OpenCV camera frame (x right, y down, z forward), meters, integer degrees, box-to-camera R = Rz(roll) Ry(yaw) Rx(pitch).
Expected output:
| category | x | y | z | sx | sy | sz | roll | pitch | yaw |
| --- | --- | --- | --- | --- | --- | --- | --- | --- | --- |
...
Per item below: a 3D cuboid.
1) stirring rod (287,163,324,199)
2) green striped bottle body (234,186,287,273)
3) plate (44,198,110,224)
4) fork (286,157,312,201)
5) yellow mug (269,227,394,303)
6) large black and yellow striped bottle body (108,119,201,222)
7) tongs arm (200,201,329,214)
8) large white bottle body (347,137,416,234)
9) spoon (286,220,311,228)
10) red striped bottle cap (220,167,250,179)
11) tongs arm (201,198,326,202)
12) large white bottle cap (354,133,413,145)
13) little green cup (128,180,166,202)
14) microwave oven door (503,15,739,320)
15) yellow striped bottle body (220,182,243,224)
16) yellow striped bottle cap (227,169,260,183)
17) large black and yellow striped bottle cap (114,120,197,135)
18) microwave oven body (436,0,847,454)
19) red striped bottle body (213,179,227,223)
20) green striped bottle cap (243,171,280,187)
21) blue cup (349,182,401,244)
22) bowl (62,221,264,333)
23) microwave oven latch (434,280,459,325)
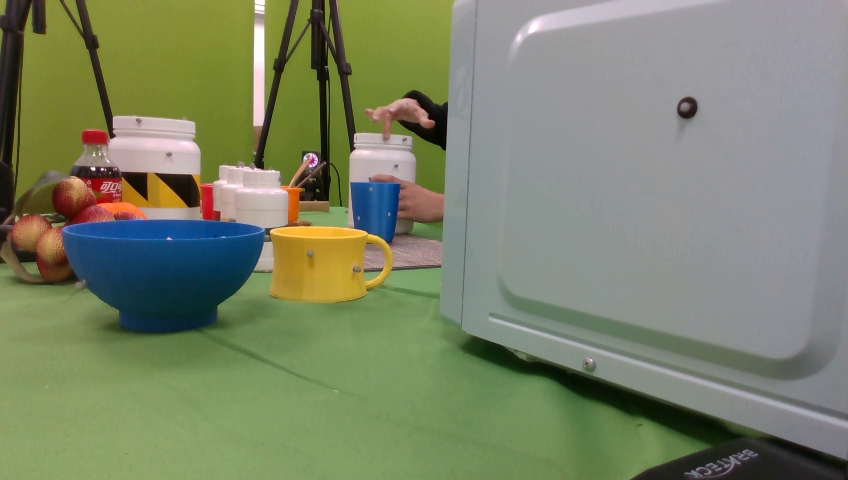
| category | x | y | z | sx | sy | sz | roll | pitch | yaw |
| --- | --- | --- | --- | --- | --- | --- | --- | --- | --- |
| stirring rod | -0.278 | -0.105 | 1.293 | 0.176 | 0.006 | 0.014 | -46 | 25 | -18 |
| green striped bottle body | -0.200 | -0.023 | 0.743 | 0.063 | 0.119 | 0.063 | 2 | 7 | 0 |
| plate | -0.617 | -0.056 | 1.179 | 0.209 | 0.038 | 0.209 | 3 | 7 | 0 |
| fork | -0.289 | -0.116 | 1.321 | 0.028 | 0.019 | 0.207 | 6 | 51 | 19 |
| yellow mug | -0.094 | 0.023 | 0.629 | 0.131 | 0.064 | 0.099 | 0 | 6 | -22 |
| large black and yellow striped bottle body | -0.412 | -0.088 | 0.930 | 0.131 | 0.184 | 0.130 | 3 | 7 | 0 |
| tongs arm | -0.378 | -0.079 | 1.440 | 0.387 | 0.026 | 0.050 | -4 | 8 | -44 |
| large white bottle body | -0.082 | -0.110 | 1.173 | 0.131 | 0.184 | 0.130 | 2 | 8 | 0 |
| spoon | -0.232 | -0.027 | 1.116 | 0.041 | 0.021 | 0.193 | -22 | 6 | 4 |
| red striped bottle cap | -0.281 | -0.100 | 0.901 | 0.044 | 0.017 | 0.044 | -1 | 5 | 0 |
| tongs arm | -0.433 | -0.090 | 1.507 | 0.390 | 0.028 | 0.028 | 0 | 3 | -29 |
| large white bottle cap | -0.077 | -0.194 | 1.163 | 0.115 | 0.018 | 0.115 | 3 | 7 | 0 |
| little green cup | -0.485 | -0.087 | 1.062 | 0.061 | 0.038 | 0.061 | -1 | 6 | 0 |
| microwave oven door | 0.218 | -0.065 | 0.600 | 0.358 | 0.243 | 0.039 | -4 | 10 | -41 |
| yellow striped bottle body | -0.246 | -0.036 | 0.825 | 0.063 | 0.120 | 0.063 | 3 | 8 | 0 |
| yellow striped bottle cap | -0.243 | -0.086 | 0.818 | 0.044 | 0.018 | 0.044 | 3 | 6 | 0 |
| large black and yellow striped bottle cap | -0.407 | -0.171 | 0.920 | 0.115 | 0.019 | 0.115 | 2 | 9 | 0 |
| microwave oven body | 0.279 | -0.040 | 0.465 | 0.444 | 0.260 | 0.324 | -3 | 9 | -41 |
| red striped bottle body | -0.284 | -0.048 | 0.909 | 0.063 | 0.119 | 0.063 | 3 | 11 | 0 |
| green striped bottle cap | -0.198 | -0.074 | 0.736 | 0.044 | 0.020 | 0.044 | 1 | 7 | 0 |
| blue cup | -0.082 | -0.046 | 1.009 | 0.093 | 0.100 | 0.092 | 1 | 6 | 0 |
| bowl | -0.209 | 0.029 | 0.496 | 0.151 | 0.077 | 0.151 | 2 | 6 | 0 |
| microwave oven latch | 0.044 | 0.045 | 0.470 | 0.079 | 0.029 | 0.030 | -2 | 8 | -39 |
